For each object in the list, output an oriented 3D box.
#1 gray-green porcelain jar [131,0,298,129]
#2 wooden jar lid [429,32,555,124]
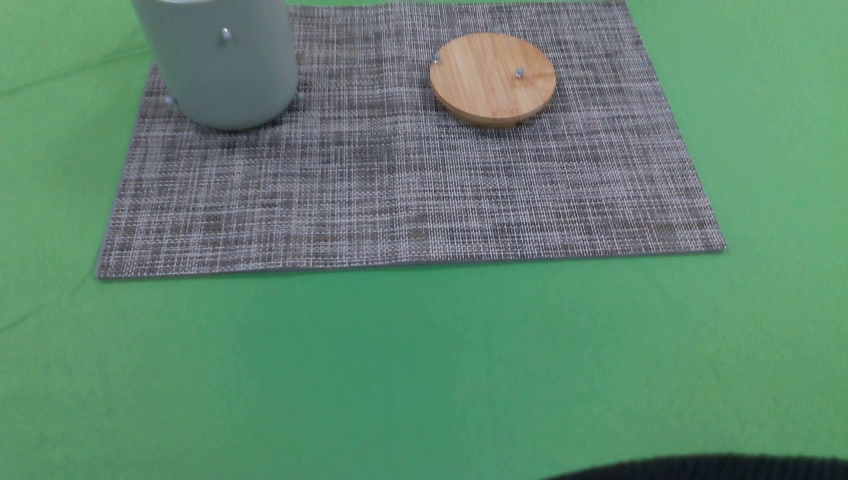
[{"bbox_3d":[-0.155,-0.158,0.465,0.106,0.127,0.105,1,56,-1],"label":"gray-green porcelain jar"},{"bbox_3d":[0.058,-0.139,0.525,0.108,0.021,0.107,1,55,-1],"label":"wooden jar lid"}]
